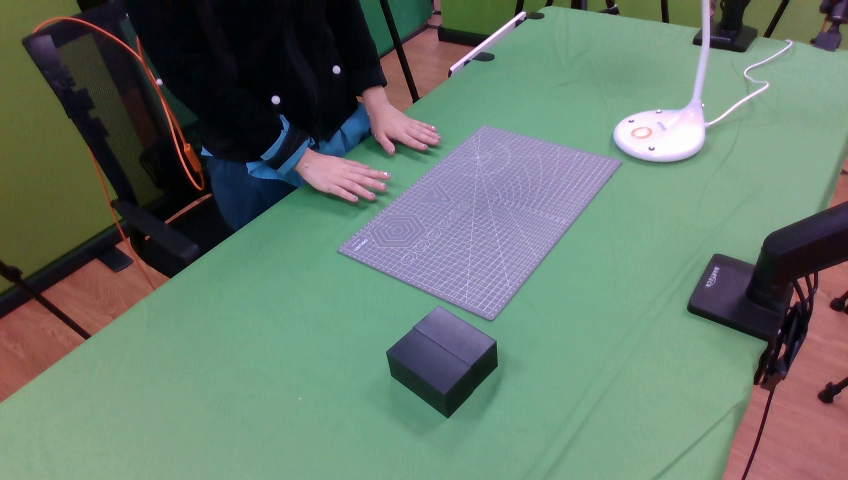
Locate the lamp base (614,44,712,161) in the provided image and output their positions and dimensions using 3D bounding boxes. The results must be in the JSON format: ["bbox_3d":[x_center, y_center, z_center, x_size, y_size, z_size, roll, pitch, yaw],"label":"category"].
[{"bbox_3d":[0.441,-0.257,1.081,0.180,0.181,0.159,-15,41,-12],"label":"lamp base"}]
